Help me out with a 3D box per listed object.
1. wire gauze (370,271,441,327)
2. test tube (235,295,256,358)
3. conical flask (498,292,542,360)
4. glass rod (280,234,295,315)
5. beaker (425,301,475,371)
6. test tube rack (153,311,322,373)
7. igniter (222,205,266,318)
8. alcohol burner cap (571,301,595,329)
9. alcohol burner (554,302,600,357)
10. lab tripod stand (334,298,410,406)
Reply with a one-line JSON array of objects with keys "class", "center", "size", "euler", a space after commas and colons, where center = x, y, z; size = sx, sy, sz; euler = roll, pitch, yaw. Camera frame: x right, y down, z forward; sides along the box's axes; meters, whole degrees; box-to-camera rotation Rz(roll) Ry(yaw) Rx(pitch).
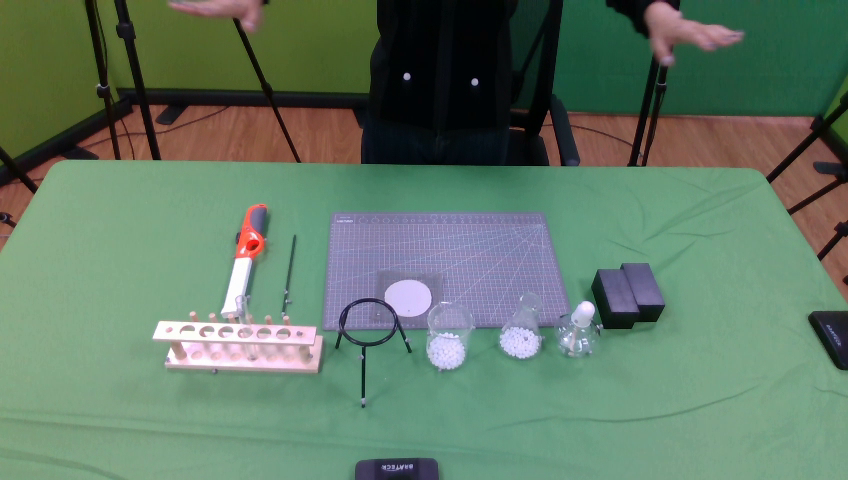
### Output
[{"class": "wire gauze", "center": [-0.032, 0.103, 1.104], "size": [0.125, 0.011, 0.121], "euler": [4, 46, 3]}, {"class": "test tube", "center": [-0.274, 0.136, 0.933], "size": [0.017, 0.151, 0.017], "euler": [4, 46, -4]}, {"class": "conical flask", "center": [0.167, 0.139, 1.010], "size": [0.075, 0.122, 0.075], "euler": [2, 46, -2]}, {"class": "glass rod", "center": [-0.253, 0.060, 1.132], "size": [0.008, 0.008, 0.198], "euler": [0, 46, -4]}, {"class": "beaker", "center": [0.038, 0.159, 0.996], "size": [0.074, 0.101, 0.083], "euler": [-13, 48, -17]}, {"class": "test tube rack", "center": [-0.293, 0.160, 0.978], "size": [0.242, 0.085, 0.066], "euler": [3, 46, -2]}, {"class": "igniter", "center": [-0.337, 0.031, 1.140], "size": [0.057, 0.025, 0.274], "euler": [-6, 46, 3]}, {"class": "alcohol burner cap", "center": [0.262, 0.120, 0.991], "size": [0.034, 0.048, 0.033], "euler": [1, 52, -2]}, {"class": "alcohol burner", "center": [0.260, 0.143, 1.018], "size": [0.078, 0.119, 0.077], "euler": [3, 45, -3]}, {"class": "lab tripod stand", "center": [-0.085, 0.164, 0.958], "size": [0.148, 0.132, 0.147], "euler": [3, 44, -2]}]
